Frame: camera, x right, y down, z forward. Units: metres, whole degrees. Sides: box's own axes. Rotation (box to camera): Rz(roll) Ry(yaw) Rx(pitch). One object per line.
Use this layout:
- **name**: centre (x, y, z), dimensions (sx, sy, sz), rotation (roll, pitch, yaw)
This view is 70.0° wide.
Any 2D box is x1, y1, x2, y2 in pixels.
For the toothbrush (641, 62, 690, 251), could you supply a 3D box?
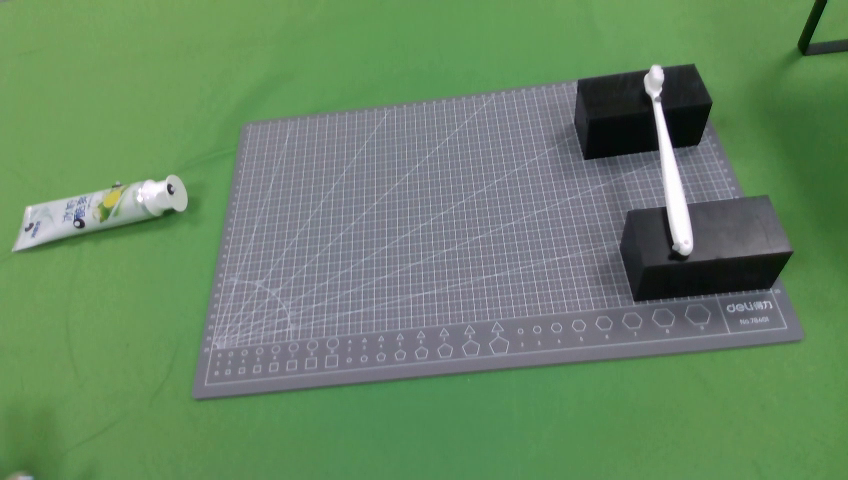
- **toothbrush**: centre (0.184, -0.070, 0.461), dimensions (0.014, 0.017, 0.180), rotation (8, 58, -4)

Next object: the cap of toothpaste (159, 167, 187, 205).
- **cap of toothpaste**: centre (-0.233, -0.049, 0.561), dimensions (0.011, 0.038, 0.037), rotation (-11, 55, 6)

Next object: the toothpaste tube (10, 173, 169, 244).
- **toothpaste tube**: centre (-0.310, -0.036, 0.571), dimensions (0.165, 0.035, 0.054), rotation (-12, 52, 5)
